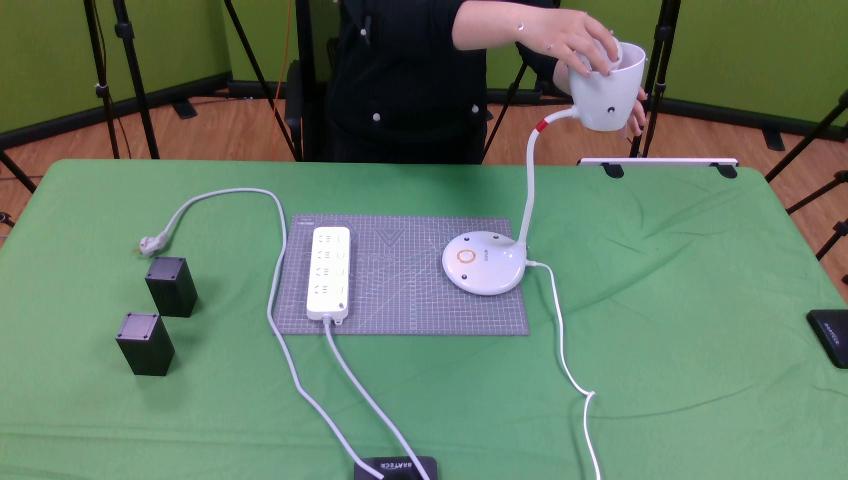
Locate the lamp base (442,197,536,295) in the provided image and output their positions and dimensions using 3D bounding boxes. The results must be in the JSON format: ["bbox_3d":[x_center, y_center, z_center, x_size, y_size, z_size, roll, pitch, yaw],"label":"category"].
[{"bbox_3d":[0.130,-0.012,1.105,0.179,0.181,0.159,-1,46,-9],"label":"lamp base"}]

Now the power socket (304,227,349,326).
[{"bbox_3d":[-0.177,0.059,1.115,0.072,0.033,0.225,-1,46,-4],"label":"power socket"}]

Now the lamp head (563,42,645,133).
[{"bbox_3d":[0.272,-0.227,0.929,0.112,0.123,0.112,-3,38,2],"label":"lamp head"}]

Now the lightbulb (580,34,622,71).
[{"bbox_3d":[0.269,-0.254,0.911,0.059,0.108,0.059,-12,33,8],"label":"lightbulb"}]

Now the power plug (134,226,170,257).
[{"bbox_3d":[-0.515,0.006,1.153,0.052,0.035,0.072,-6,24,7],"label":"power plug"}]
